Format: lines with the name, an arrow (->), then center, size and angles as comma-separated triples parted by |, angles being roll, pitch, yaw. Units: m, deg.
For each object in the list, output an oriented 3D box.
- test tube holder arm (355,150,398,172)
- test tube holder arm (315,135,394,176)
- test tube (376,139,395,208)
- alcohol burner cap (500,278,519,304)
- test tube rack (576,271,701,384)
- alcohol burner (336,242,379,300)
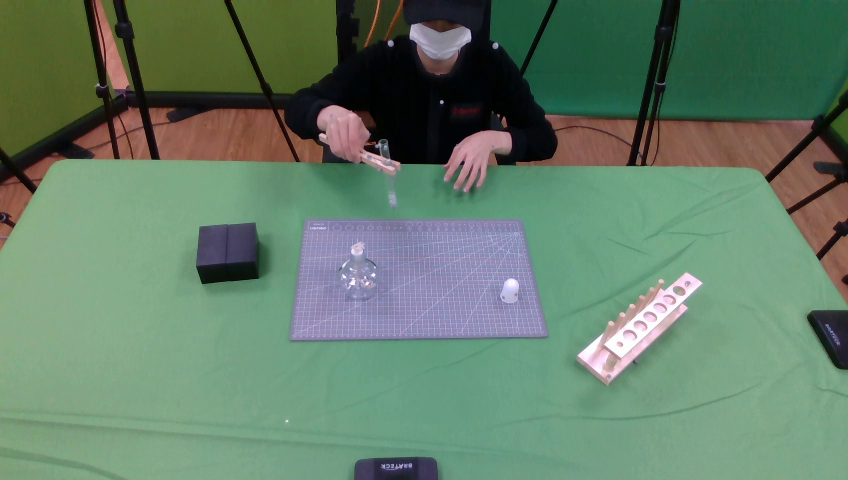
test tube holder arm -> -0.085, -0.140, 1.064 | 0.087, 0.015, 0.010 | 20, 47, 19
test tube holder arm -> -0.126, -0.153, 1.078 | 0.177, 0.015, 0.013 | 25, 49, 24
test tube -> -0.066, -0.114, 1.068 | 0.017, 0.151, 0.017 | -3, 46, 4
alcohol burner cap -> 0.157, 0.090, 1.104 | 0.034, 0.048, 0.033 | 2, 46, -2
test tube rack -> 0.373, 0.138, 1.047 | 0.242, 0.085, 0.066 | -31, 56, -29
alcohol burner -> -0.118, 0.050, 1.072 | 0.078, 0.120, 0.077 | 2, 44, -1
